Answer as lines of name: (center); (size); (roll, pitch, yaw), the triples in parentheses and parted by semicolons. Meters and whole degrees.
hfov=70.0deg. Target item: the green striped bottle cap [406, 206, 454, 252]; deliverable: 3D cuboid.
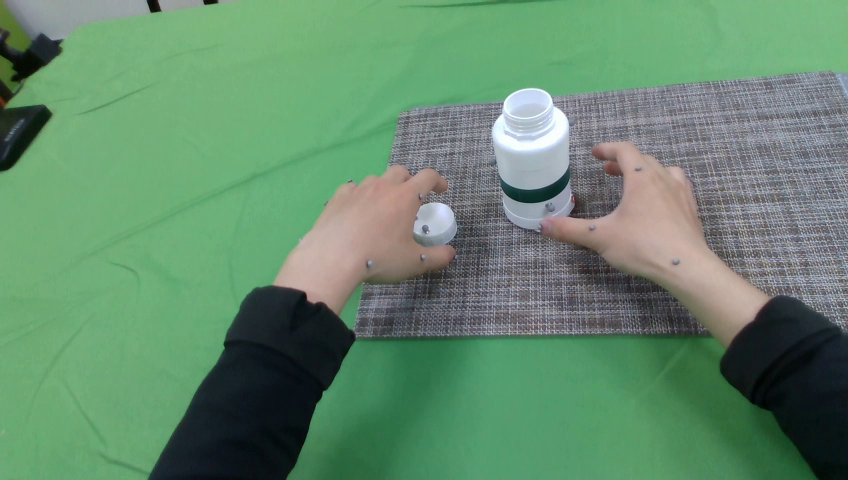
green striped bottle cap: (0.006, -0.011, 0.568); (0.044, 0.020, 0.044); (-4, 49, 5)

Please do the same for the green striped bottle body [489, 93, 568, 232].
green striped bottle body: (0.091, -0.067, 0.522); (0.063, 0.120, 0.062); (-7, 49, 9)
